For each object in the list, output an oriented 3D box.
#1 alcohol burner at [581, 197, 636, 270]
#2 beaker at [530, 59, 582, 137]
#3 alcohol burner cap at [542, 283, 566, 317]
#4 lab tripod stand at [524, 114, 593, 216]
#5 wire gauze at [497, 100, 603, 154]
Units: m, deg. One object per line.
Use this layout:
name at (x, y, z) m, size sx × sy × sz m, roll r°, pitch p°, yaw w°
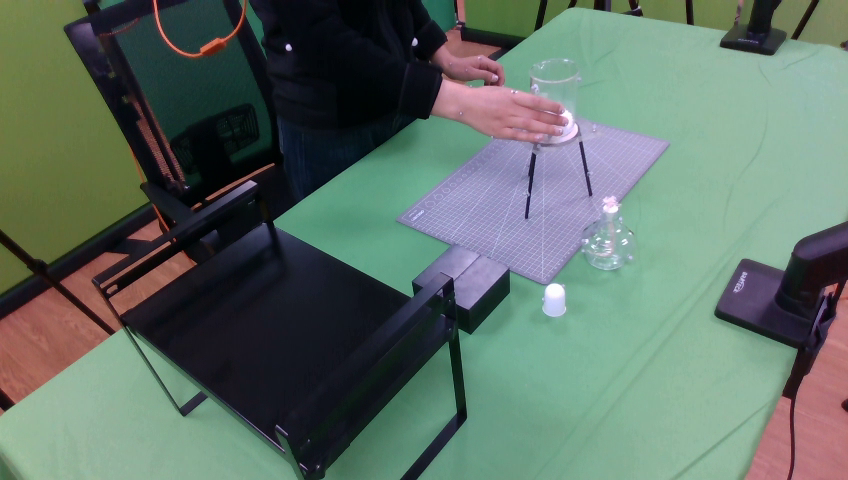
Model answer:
alcohol burner at (0.270, -0.015, 0.882) m, size 0.078 × 0.119 × 0.077 m, roll -5°, pitch 42°, yaw 5°
beaker at (0.198, -0.217, 0.931) m, size 0.074 × 0.101 × 0.083 m, roll -22°, pitch 43°, yaw -16°
alcohol burner cap at (0.181, 0.081, 0.839) m, size 0.034 × 0.048 × 0.033 m, roll -3°, pitch 41°, yaw 3°
lab tripod stand at (0.210, -0.127, 1.001) m, size 0.148 × 0.132 × 0.147 m, roll -4°, pitch 43°, yaw 4°
wire gauze at (0.199, -0.180, 0.963) m, size 0.125 × 0.011 × 0.120 m, roll -21°, pitch 42°, yaw -12°
